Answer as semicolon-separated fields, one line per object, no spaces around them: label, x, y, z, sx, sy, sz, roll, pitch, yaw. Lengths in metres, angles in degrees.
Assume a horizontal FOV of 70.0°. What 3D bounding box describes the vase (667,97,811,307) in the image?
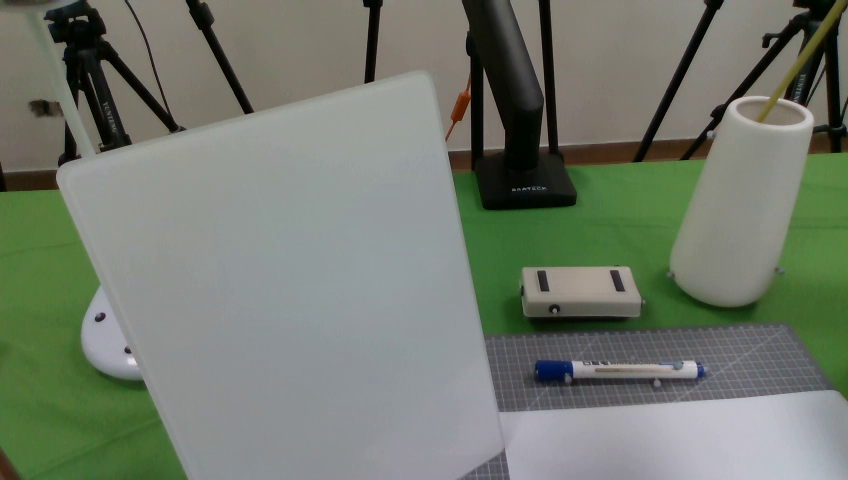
vase;0.302;-0.031;0.582;0.098;0.202;0.097;0;37;1

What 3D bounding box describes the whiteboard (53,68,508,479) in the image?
whiteboard;-0.088;0.054;0.444;0.217;0.307;0.142;-22;22;-23

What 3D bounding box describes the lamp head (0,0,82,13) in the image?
lamp head;-0.255;-0.214;0.357;0.112;0.113;0.122;-28;69;-30

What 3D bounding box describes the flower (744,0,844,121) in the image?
flower;0.301;-0.198;0.388;0.044;0.364;0.038;-7;57;-14

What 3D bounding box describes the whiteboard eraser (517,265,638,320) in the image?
whiteboard eraser;0.152;0.054;0.606;0.113;0.042;0.055;-2;35;1

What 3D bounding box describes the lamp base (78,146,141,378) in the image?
lamp base;-0.269;0.010;0.567;0.177;0.182;0.160;23;44;33

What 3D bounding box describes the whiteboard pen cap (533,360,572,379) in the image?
whiteboard pen cap;0.115;0.116;0.541;0.033;0.018;0.018;1;37;0

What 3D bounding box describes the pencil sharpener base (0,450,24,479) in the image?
pencil sharpener base;-0.271;0.194;0.383;0.076;0.108;0.061;27;46;34

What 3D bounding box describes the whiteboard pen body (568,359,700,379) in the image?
whiteboard pen body;0.174;0.115;0.540;0.141;0.017;0.017;-1;37;1
